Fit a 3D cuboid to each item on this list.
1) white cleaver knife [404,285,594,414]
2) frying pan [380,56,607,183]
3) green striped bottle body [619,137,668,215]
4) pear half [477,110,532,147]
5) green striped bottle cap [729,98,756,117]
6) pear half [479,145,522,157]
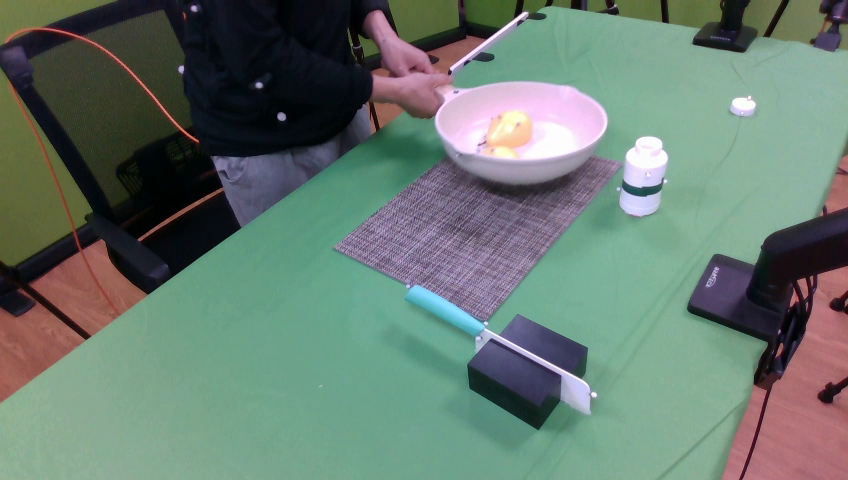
[{"bbox_3d":[0.084,0.135,0.764,0.284,0.066,0.021,28,47,31],"label":"white cleaver knife"},{"bbox_3d":[0.092,-0.242,1.104,0.308,0.103,0.484,-32,55,-33],"label":"frying pan"},{"bbox_3d":[0.350,-0.103,0.963,0.063,0.120,0.063,-4,41,4],"label":"green striped bottle body"},{"bbox_3d":[0.141,-0.200,1.085,0.110,0.056,0.075,-25,37,-24],"label":"pear half"},{"bbox_3d":[0.623,-0.259,1.182,0.044,0.020,0.044,-3,41,3],"label":"green striped bottle cap"},{"bbox_3d":[0.127,-0.144,1.032,0.087,0.031,0.070,20,39,21],"label":"pear half"}]
